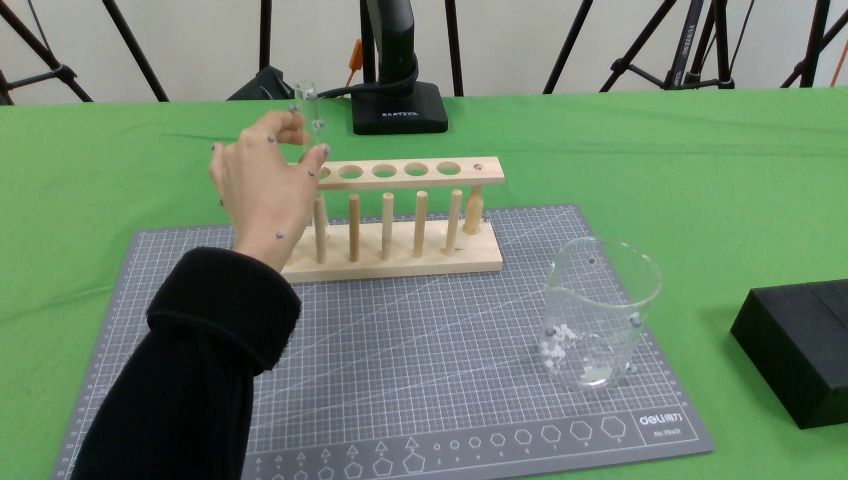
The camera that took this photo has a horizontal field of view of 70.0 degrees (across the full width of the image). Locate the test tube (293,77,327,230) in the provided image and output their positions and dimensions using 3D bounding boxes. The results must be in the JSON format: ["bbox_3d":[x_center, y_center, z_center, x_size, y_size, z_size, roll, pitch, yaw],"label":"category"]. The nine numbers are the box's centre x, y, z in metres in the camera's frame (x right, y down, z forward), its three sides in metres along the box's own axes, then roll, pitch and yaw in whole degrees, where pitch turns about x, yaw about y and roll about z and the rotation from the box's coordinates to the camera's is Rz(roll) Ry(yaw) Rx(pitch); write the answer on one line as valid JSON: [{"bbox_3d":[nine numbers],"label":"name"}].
[{"bbox_3d":[-0.096,-0.067,0.520,0.017,0.151,0.017,1,41,-1],"label":"test tube"}]

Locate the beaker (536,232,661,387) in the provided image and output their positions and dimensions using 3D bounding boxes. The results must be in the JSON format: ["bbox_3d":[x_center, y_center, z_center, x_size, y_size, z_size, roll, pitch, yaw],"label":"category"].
[{"bbox_3d":[0.123,0.056,0.454,0.084,0.101,0.073,-9,41,-12],"label":"beaker"}]

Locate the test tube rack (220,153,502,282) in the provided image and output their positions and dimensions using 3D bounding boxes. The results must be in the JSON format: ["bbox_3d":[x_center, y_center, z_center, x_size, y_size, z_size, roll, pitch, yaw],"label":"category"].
[{"bbox_3d":[-0.052,-0.022,0.546,0.243,0.086,0.066,-3,40,-7],"label":"test tube rack"}]
